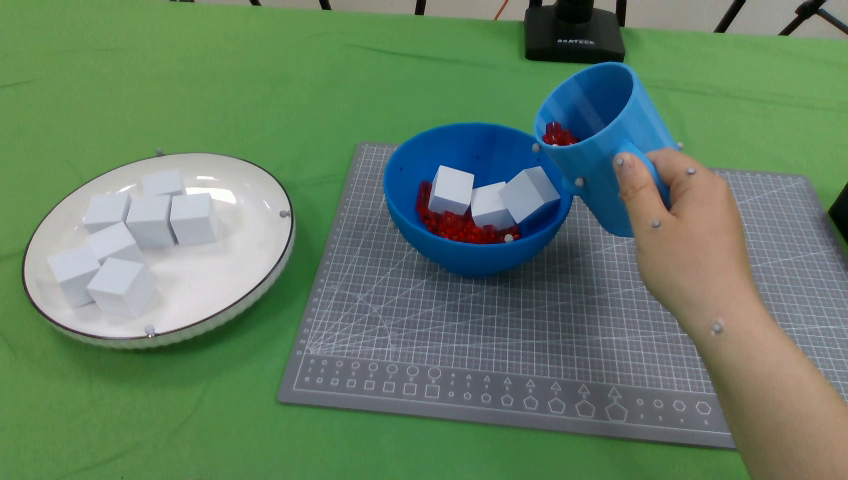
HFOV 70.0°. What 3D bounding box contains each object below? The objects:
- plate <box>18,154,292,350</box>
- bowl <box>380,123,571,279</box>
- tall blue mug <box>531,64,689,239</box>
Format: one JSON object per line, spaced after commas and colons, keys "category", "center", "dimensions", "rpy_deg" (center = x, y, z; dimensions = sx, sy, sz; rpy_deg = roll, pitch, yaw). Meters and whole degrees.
{"category": "plate", "center": [-0.212, 0.007, 0.500], "dimensions": [0.209, 0.038, 0.207], "rpy_deg": [1, 46, -1]}
{"category": "bowl", "center": [0.040, -0.021, 0.500], "dimensions": [0.151, 0.077, 0.150], "rpy_deg": [1, 46, 0]}
{"category": "tall blue mug", "center": [0.146, -0.057, 0.432], "dimensions": [0.077, 0.109, 0.106], "rpy_deg": [-53, 37, -10]}
